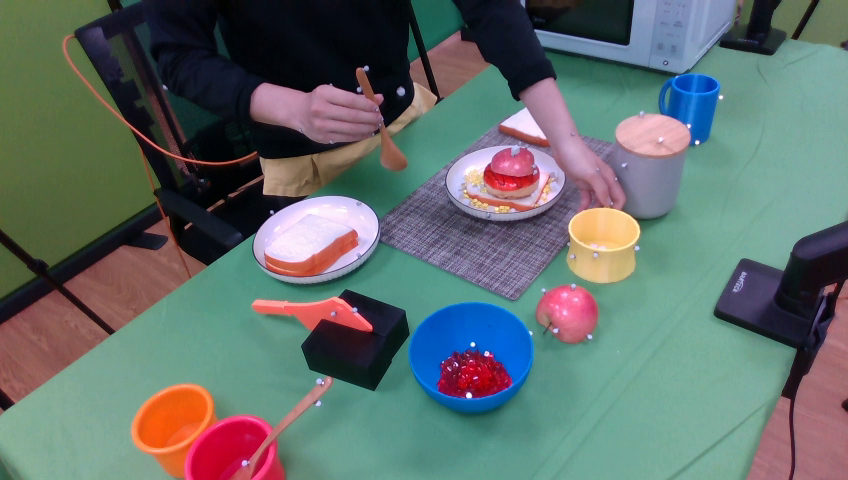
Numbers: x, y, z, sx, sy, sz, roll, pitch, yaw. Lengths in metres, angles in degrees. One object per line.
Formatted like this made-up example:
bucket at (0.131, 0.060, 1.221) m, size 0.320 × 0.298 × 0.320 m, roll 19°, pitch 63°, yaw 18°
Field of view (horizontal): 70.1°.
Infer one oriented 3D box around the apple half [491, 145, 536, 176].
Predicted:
apple half at (0.147, -0.138, 0.994) m, size 0.081 × 0.033 × 0.081 m, roll 0°, pitch 37°, yaw 1°

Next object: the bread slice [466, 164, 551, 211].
bread slice at (0.141, -0.093, 1.042) m, size 0.133 × 0.018 × 0.107 m, roll 11°, pitch 43°, yaw 19°

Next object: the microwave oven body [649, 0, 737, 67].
microwave oven body at (0.475, -0.602, 1.411) m, size 0.438 × 0.261 × 0.327 m, roll 23°, pitch 50°, yaw 32°

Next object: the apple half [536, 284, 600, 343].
apple half at (0.196, 0.091, 0.815) m, size 0.075 × 0.053 × 0.080 m, roll -22°, pitch 42°, yaw -20°

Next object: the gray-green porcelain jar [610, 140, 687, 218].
gray-green porcelain jar at (0.354, -0.107, 0.964) m, size 0.106 × 0.127 × 0.105 m, roll -4°, pitch 41°, yaw 4°

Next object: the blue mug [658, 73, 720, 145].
blue mug at (0.483, -0.250, 1.127) m, size 0.082 × 0.106 × 0.115 m, roll -26°, pitch 44°, yaw -19°

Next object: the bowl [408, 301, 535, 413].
bowl at (0.060, 0.156, 0.739) m, size 0.151 × 0.077 × 0.150 m, roll -4°, pitch 40°, yaw 4°

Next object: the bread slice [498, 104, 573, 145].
bread slice at (0.231, -0.231, 1.205) m, size 0.105 × 0.019 × 0.130 m, roll -37°, pitch 47°, yaw -28°

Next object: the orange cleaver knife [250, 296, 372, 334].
orange cleaver knife at (-0.159, 0.103, 0.828) m, size 0.210 × 0.078 × 0.012 m, roll -4°, pitch 43°, yaw 39°

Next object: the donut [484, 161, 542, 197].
donut at (0.149, -0.109, 1.016) m, size 0.099 × 0.048 × 0.098 m, roll -4°, pitch 38°, yaw 4°

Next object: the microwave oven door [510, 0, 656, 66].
microwave oven door at (0.350, -0.539, 1.348) m, size 0.353 × 0.245 × 0.039 m, roll 24°, pitch 50°, yaw 31°

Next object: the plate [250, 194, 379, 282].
plate at (-0.174, 0.000, 0.984) m, size 0.209 × 0.038 × 0.208 m, roll -3°, pitch 40°, yaw 3°

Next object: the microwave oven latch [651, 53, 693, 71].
microwave oven latch at (0.532, -0.386, 1.301) m, size 0.078 × 0.029 × 0.030 m, roll 27°, pitch 52°, yaw 34°

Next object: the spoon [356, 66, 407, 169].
spoon at (-0.063, -0.165, 0.848) m, size 0.041 × 0.195 × 0.021 m, roll -5°, pitch 50°, yaw 13°

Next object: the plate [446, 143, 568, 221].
plate at (0.142, -0.096, 1.045) m, size 0.207 × 0.039 × 0.206 m, roll -4°, pitch 41°, yaw 4°

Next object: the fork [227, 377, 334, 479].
fork at (-0.162, 0.216, 0.647) m, size 0.207 × 0.019 × 0.028 m, roll -49°, pitch 41°, yaw 16°

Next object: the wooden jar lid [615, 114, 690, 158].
wooden jar lid at (0.347, -0.155, 0.923) m, size 0.108 × 0.021 × 0.108 m, roll -3°, pitch 44°, yaw 4°

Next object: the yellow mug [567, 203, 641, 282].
yellow mug at (0.268, -0.005, 0.905) m, size 0.099 × 0.064 × 0.130 m, roll 6°, pitch 42°, yaw 16°
